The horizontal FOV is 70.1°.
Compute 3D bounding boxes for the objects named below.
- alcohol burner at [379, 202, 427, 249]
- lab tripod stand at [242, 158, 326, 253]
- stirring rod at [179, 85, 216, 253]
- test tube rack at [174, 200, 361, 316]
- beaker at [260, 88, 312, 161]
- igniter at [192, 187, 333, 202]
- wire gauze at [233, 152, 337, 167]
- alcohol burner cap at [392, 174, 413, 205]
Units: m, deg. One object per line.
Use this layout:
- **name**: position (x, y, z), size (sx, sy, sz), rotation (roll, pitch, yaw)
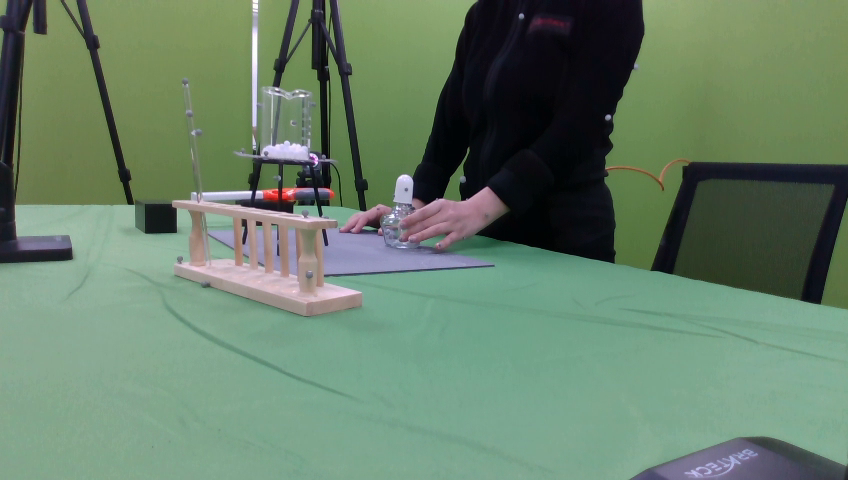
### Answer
- **alcohol burner**: position (-0.034, -0.046, 0.975), size (0.078, 0.119, 0.078), rotation (1, 6, 0)
- **lab tripod stand**: position (-0.207, -0.054, 0.895), size (0.148, 0.131, 0.148), rotation (3, 5, 0)
- **stirring rod**: position (-0.237, -0.073, 0.634), size (0.006, 0.176, 0.014), rotation (0, 9, 42)
- **test tube rack**: position (-0.169, 0.009, 0.622), size (0.241, 0.085, 0.067), rotation (9, 9, 41)
- **beaker**: position (-0.201, -0.166, 0.876), size (0.074, 0.100, 0.083), rotation (1, 7, -18)
- **igniter**: position (-0.316, -0.090, 1.214), size (0.278, 0.025, 0.057), rotation (-5, 12, -31)
- **wire gauze**: position (-0.205, -0.119, 0.887), size (0.122, 0.011, 0.124), rotation (2, 4, -32)
- **alcohol burner cap**: position (-0.033, -0.082, 0.969), size (0.034, 0.048, 0.034), rotation (5, 8, 0)
